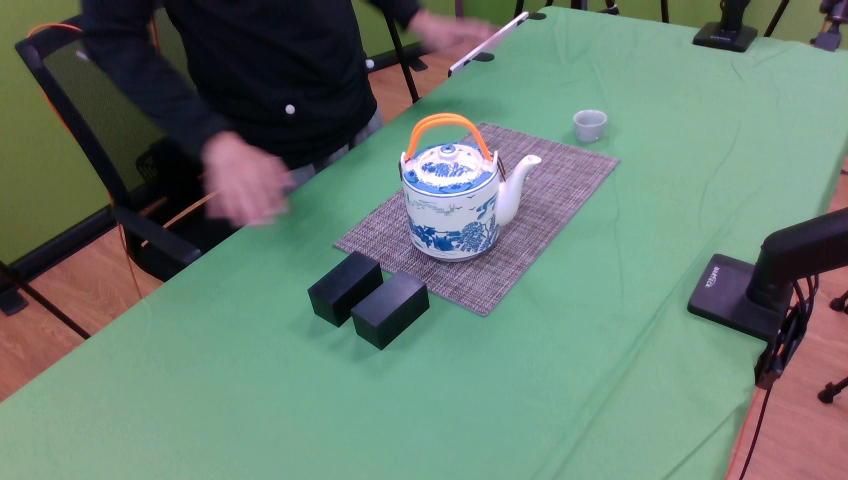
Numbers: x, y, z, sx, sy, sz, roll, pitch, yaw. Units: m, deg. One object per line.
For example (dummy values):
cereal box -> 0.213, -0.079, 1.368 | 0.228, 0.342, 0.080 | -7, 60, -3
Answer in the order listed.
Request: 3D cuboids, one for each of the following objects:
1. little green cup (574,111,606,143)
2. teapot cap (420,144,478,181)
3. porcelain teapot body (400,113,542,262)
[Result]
little green cup -> 0.318, -0.217, 1.164 | 0.061, 0.039, 0.061 | -3, 41, 3
teapot cap -> 0.036, -0.114, 0.874 | 0.085, 0.044, 0.085 | -2, 42, 3
porcelain teapot body -> 0.069, -0.086, 0.897 | 0.205, 0.226, 0.144 | -1, 41, 7
